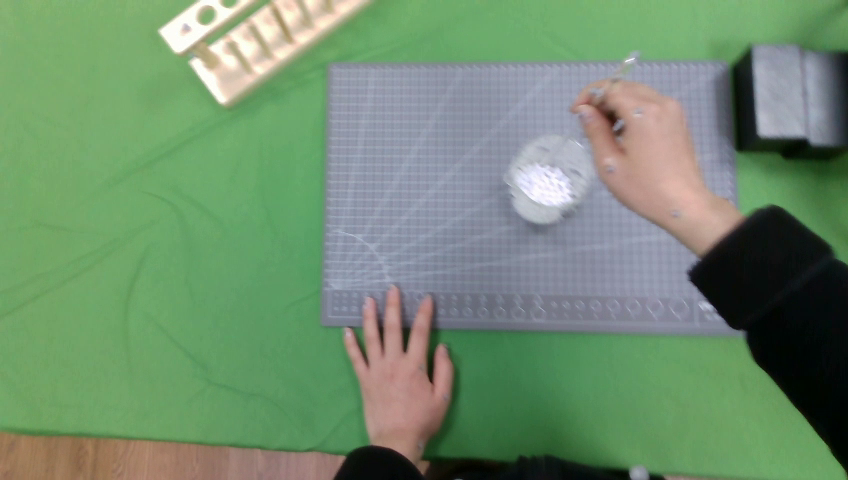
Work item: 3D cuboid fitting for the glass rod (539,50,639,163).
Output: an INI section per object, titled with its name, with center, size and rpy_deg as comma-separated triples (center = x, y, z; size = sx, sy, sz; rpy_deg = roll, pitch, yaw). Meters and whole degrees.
[glass rod]
center = 0.126, -0.100, 0.492
size = 0.008, 0.200, 0.008
rpy_deg = 2, 77, -7

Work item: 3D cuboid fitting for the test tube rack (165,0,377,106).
[test tube rack]
center = -0.150, -0.258, 0.666
size = 0.242, 0.085, 0.066
rpy_deg = -37, 81, -3

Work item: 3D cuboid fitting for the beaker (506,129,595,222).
[beaker]
center = 0.122, -0.060, 0.616
size = 0.084, 0.100, 0.073
rpy_deg = -10, 81, 2
